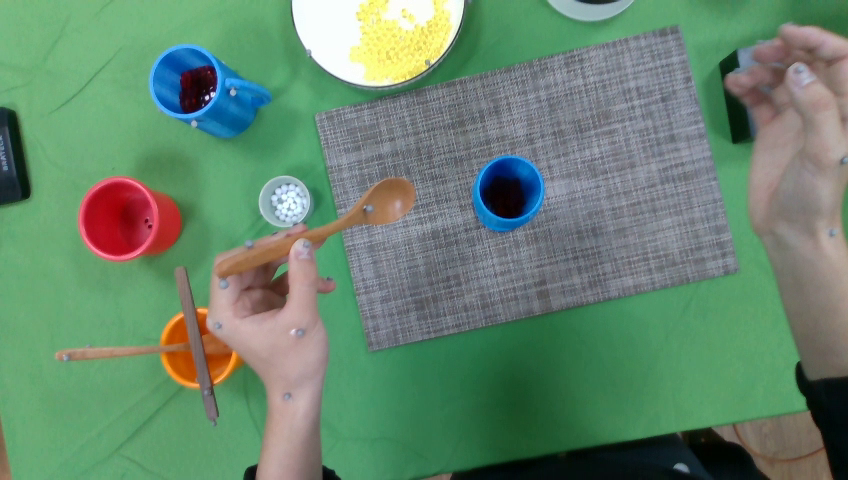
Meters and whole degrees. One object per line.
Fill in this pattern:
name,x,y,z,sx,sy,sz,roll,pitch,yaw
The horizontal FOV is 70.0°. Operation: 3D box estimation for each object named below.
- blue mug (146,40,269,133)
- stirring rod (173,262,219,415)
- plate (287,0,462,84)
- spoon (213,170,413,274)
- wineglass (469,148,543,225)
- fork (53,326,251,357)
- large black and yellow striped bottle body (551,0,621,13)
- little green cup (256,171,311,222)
blue mug,-0.240,-0.175,0.705,0.116,0.106,0.082,0,89,4
stirring rod,-0.256,0.110,0.681,0.014,0.006,0.176,-14,89,4
plate,-0.059,-0.288,0.726,0.209,0.038,0.209,0,90,4
spoon,-0.072,-0.014,0.452,0.021,0.194,0.042,21,121,28
wineglass,0.084,-0.052,0.644,0.073,0.172,0.073,0,89,5
fork,-0.298,0.117,0.687,0.209,0.018,0.028,1,97,-39
large black and yellow striped bottle body,0.187,-0.335,0.635,0.131,0.184,0.130,0,89,5
little green cup,-0.167,-0.051,0.733,0.061,0.038,0.061,0,90,5
